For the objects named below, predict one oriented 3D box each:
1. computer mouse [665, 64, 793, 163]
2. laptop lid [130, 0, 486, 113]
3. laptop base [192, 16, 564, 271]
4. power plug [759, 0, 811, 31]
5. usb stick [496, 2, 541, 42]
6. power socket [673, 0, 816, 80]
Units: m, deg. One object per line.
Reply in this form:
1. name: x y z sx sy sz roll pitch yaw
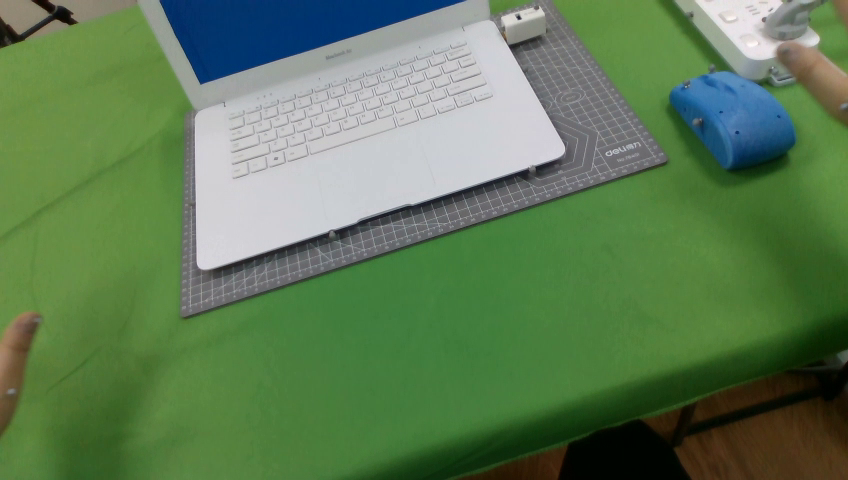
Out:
1. computer mouse: 0.264 -0.118 0.531 0.063 0.041 0.116 -19 46 3
2. laptop lid: -0.124 -0.283 0.619 0.357 0.244 0.013 -20 38 1
3. laptop base: -0.064 -0.108 0.620 0.354 0.023 0.233 -19 54 0
4. power plug: 0.348 -0.209 0.555 0.072 0.053 0.035 -7 54 9
5. usb stick: 0.096 -0.235 0.660 0.059 0.027 0.021 -19 50 4
6. power socket: 0.309 -0.245 0.619 0.072 0.033 0.224 -16 51 3
